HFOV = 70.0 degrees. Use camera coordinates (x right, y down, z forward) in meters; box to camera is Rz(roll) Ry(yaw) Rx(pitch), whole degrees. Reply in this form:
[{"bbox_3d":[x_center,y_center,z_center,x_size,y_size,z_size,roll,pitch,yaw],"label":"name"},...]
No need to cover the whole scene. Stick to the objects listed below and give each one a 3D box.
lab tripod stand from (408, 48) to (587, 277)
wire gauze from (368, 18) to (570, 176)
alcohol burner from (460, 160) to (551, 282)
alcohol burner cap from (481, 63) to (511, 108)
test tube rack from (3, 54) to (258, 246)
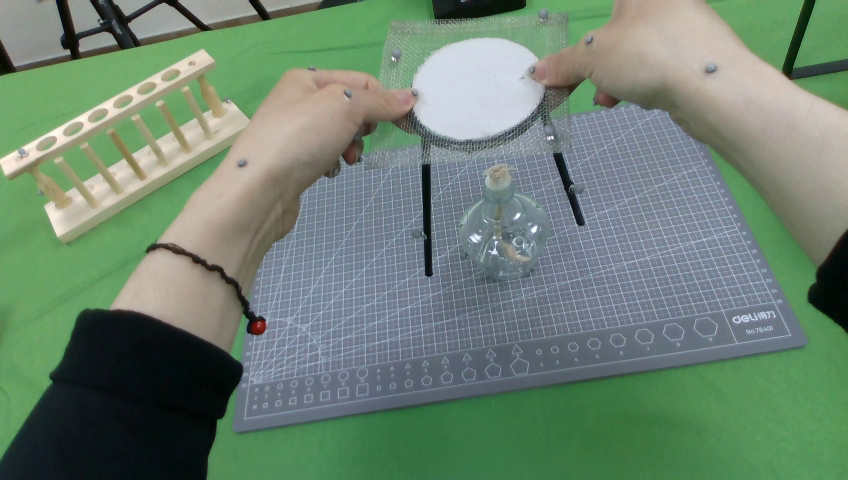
[{"bbox_3d":[0.043,-0.053,0.435,0.148,0.133,0.147,-5,58,9],"label":"lab tripod stand"},{"bbox_3d":[0.030,-0.096,0.383,0.121,0.011,0.124,-1,61,12],"label":"wire gauze"},{"bbox_3d":[0.066,-0.019,0.503,0.078,0.120,0.077,-7,49,8],"label":"alcohol burner"},{"bbox_3d":[0.079,-0.174,0.673,0.034,0.048,0.033,-7,52,9],"label":"alcohol burner cap"},{"bbox_3d":[-0.319,-0.104,0.678,0.242,0.086,0.066,-35,53,-15],"label":"test tube rack"}]
